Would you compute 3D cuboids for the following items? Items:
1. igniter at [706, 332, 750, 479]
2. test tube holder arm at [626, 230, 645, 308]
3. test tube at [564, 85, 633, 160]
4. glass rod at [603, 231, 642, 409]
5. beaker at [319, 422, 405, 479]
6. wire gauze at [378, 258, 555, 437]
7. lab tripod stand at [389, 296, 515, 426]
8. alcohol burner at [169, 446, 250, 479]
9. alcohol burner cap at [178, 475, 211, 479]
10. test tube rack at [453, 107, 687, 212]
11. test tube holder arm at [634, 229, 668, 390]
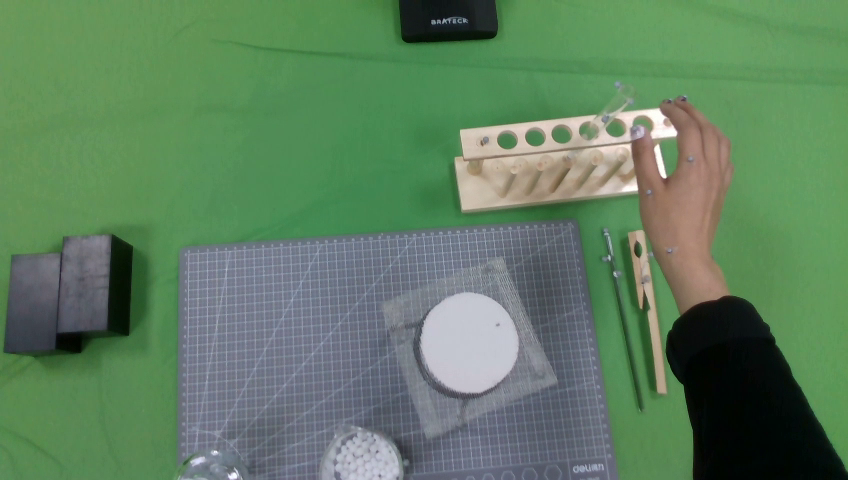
[{"bbox_3d":[0.319,0.234,0.629,0.057,0.025,0.275,9,75,-10],"label":"igniter"},{"bbox_3d":[0.241,0.033,0.683,0.010,0.015,0.087,-13,74,30],"label":"test tube holder arm"},{"bbox_3d":[0.177,-0.118,0.632,0.017,0.150,0.017,2,74,-7],"label":"test tube"},{"bbox_3d":[0.218,0.085,0.672,0.008,0.008,0.198,-6,75,-4],"label":"glass rod"},{"bbox_3d":[-0.058,0.213,0.580,0.074,0.101,0.083,-26,77,-8],"label":"beaker"},{"bbox_3d":[0.036,0.090,0.528,0.121,0.011,0.124,-20,77,-6],"label":"wire gauze"},{"bbox_3d":[0.029,0.109,0.592,0.148,0.132,0.147,0,76,0],"label":"lab tripod stand"},{"bbox_3d":[-0.205,0.232,0.562,0.078,0.119,0.077,0,73,-1],"label":"alcohol burner"},{"bbox_3d":[-0.204,0.221,0.528,0.034,0.048,0.033,1,66,-2],"label":"alcohol burner cap"},{"bbox_3d":[0.159,-0.087,0.675,0.242,0.085,0.066,-7,75,-4],"label":"test tube rack"},{"bbox_3d":[0.250,0.075,0.669,0.013,0.015,0.177,-14,74,30],"label":"test tube holder arm"}]
